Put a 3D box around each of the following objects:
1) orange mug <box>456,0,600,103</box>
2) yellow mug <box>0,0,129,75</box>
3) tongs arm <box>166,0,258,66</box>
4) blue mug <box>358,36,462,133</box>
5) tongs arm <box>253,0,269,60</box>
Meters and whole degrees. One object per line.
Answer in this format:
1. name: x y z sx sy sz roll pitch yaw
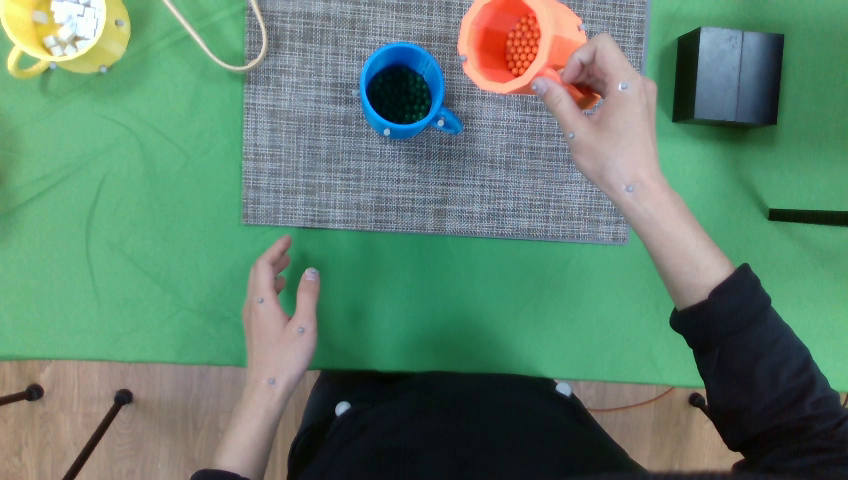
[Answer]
1. orange mug: 0.100 -0.169 0.542 0.125 0.101 0.084 50 123 18
2. yellow mug: -0.372 -0.217 0.610 0.100 0.064 0.131 41 92 -9
3. tongs arm: -0.305 -0.333 0.599 0.051 0.026 0.387 -36 106 -5
4. blue mug: -0.012 -0.150 0.632 0.117 0.105 0.082 28 92 -8
5. tongs arm: -0.233 -0.376 0.605 0.028 0.027 0.389 -23 105 -11
